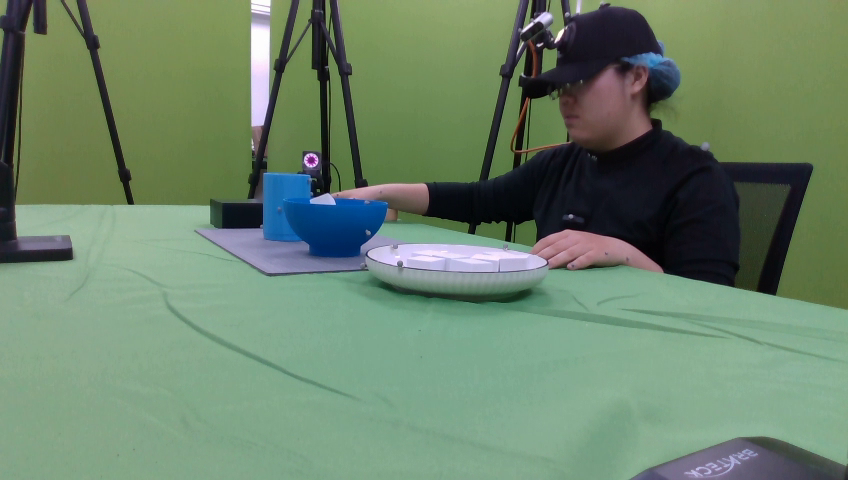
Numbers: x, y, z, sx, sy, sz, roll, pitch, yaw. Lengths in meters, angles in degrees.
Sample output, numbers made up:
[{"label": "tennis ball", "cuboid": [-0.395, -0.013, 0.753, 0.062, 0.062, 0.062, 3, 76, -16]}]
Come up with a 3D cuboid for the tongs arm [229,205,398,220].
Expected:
[{"label": "tongs arm", "cuboid": [-0.235, -0.061, 1.350, 0.387, 0.026, 0.050, 0, 4, -23]}]

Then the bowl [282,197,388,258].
[{"label": "bowl", "cuboid": [-0.128, -0.018, 0.869, 0.151, 0.077, 0.151, 2, 8, 0]}]

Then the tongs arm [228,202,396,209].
[{"label": "tongs arm", "cuboid": [-0.259, -0.069, 1.425, 0.389, 0.027, 0.028, 2, 0, -11]}]

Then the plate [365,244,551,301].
[{"label": "plate", "cuboid": [0.038, 0.035, 0.685, 0.209, 0.038, 0.209, 2, 7, 0]}]

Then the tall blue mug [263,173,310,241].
[{"label": "tall blue mug", "cuboid": [-0.233, -0.058, 1.019, 0.078, 0.108, 0.107, -1, 8, -19]}]
